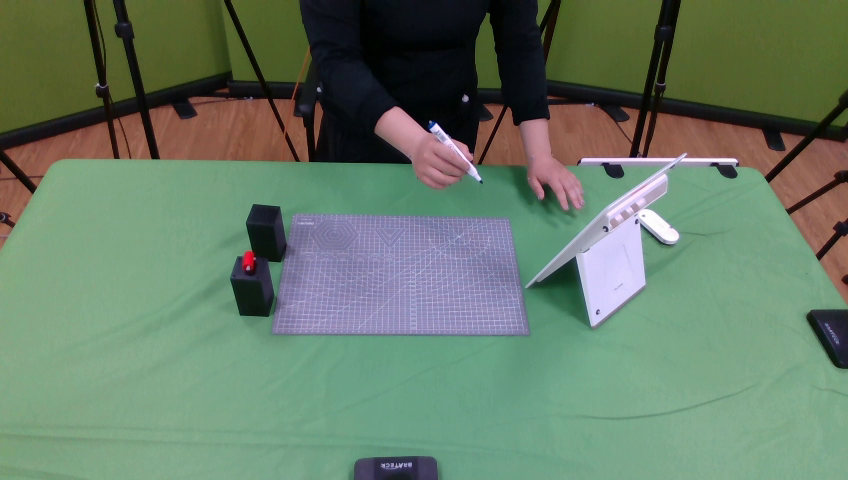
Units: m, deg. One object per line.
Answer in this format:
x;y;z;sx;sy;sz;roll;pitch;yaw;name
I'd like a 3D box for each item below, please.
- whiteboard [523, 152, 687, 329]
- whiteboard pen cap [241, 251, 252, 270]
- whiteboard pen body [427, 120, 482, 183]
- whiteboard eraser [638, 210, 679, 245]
0.346;0.024;1.047;0.217;0.306;0.143;-30;74;-29;whiteboard
-0.294;0.033;1.005;0.017;0.017;0.032;-3;45;-7;whiteboard pen cap
0.055;-0.148;1.037;0.141;0.017;0.017;47;46;-18;whiteboard pen body
0.485;-0.027;1.260;0.041;0.019;0.100;-21;50;-21;whiteboard eraser
